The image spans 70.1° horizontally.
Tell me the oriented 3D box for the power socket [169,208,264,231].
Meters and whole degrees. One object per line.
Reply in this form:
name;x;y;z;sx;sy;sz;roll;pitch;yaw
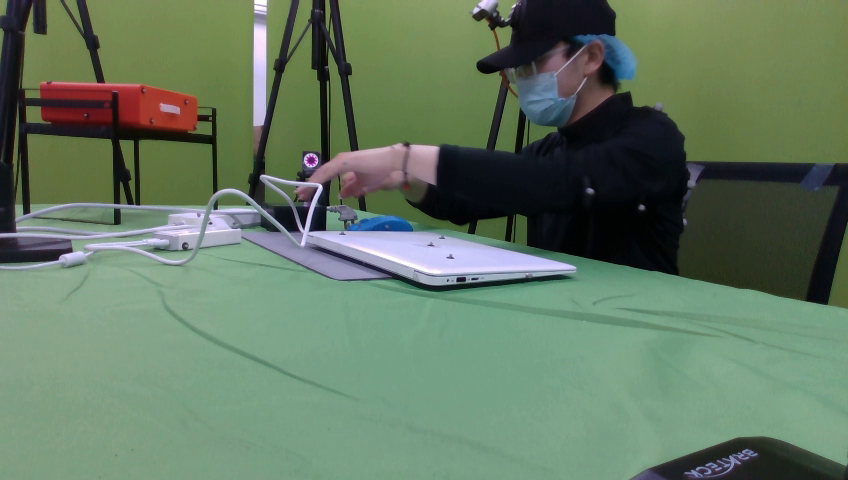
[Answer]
power socket;-0.381;-0.038;1.128;0.072;0.032;0.227;4;8;16

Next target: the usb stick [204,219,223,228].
usb stick;-0.346;-0.018;1.010;0.021;0.027;0.059;-43;-1;-8

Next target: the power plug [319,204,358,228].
power plug;-0.168;-0.045;1.205;0.072;0.052;0.035;-7;-5;5

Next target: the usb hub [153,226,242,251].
usb hub;-0.337;-0.003;0.907;0.049;0.025;0.125;6;9;28

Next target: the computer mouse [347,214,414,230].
computer mouse;-0.079;-0.025;1.080;0.117;0.041;0.062;-4;11;-18

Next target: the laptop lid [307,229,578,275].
laptop lid;0.009;0.010;0.850;0.243;0.013;0.355;0;8;-32

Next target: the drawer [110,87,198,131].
drawer;-0.602;-0.263;1.225;0.211;0.073;0.195;3;8;10

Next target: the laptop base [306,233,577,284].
laptop base;0.007;0.022;0.850;0.237;0.023;0.352;1;7;-34

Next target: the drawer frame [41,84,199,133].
drawer frame;-0.604;-0.264;1.225;0.213;0.082;0.202;3;8;8
